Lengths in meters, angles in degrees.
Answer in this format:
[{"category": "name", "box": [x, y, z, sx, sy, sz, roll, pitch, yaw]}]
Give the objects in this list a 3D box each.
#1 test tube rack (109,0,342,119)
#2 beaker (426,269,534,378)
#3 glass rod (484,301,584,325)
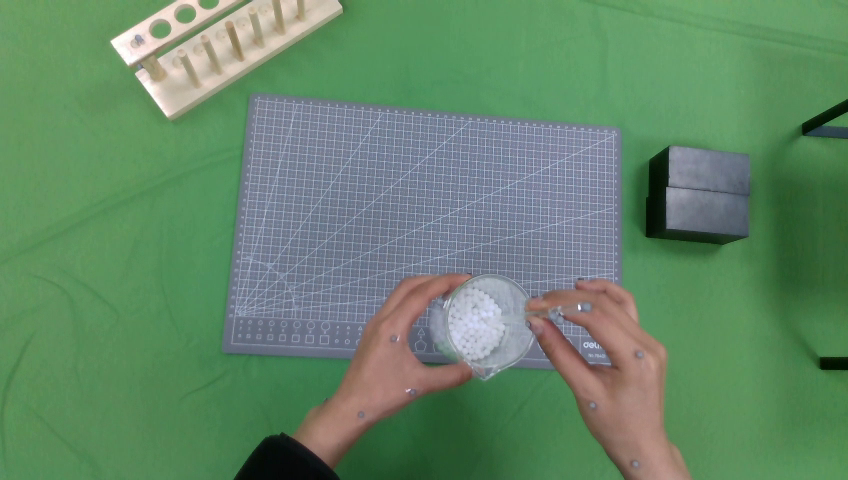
[{"category": "test tube rack", "box": [-0.211, -0.242, 0.677, 0.242, 0.085, 0.066, -37, 85, -11]}, {"category": "beaker", "box": [0.042, 0.072, 0.511, 0.074, 0.100, 0.083, 8, 80, -7]}, {"category": "glass rod", "box": [0.074, 0.057, 0.454, 0.008, 0.200, 0.008, 2, 79, -10]}]
